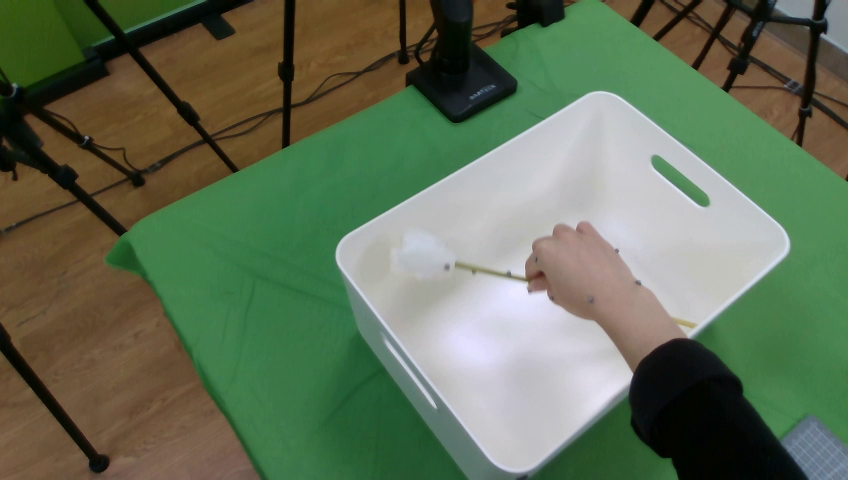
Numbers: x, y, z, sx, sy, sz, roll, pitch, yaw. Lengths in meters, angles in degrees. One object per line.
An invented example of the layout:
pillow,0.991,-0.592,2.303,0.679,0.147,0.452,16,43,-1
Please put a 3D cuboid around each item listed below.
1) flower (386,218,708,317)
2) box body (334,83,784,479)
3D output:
flower,0.138,0.039,0.605,0.363,0.044,0.038,14,19,-17
box body,0.126,0.038,0.619,0.364,0.161,0.252,-33,64,-20
